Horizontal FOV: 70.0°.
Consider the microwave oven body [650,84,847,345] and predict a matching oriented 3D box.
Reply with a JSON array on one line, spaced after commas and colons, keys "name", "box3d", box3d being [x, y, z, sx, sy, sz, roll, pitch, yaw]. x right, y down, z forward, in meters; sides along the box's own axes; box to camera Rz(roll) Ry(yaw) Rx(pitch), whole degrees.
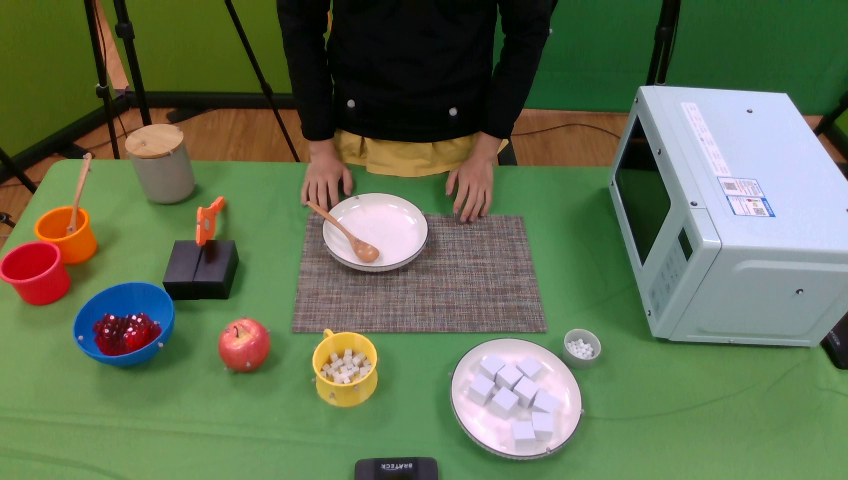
[{"name": "microwave oven body", "box3d": [0.569, -0.054, 1.116, 0.326, 0.261, 0.439, 2, 46, -1]}]

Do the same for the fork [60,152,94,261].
[{"name": "fork", "box3d": [-0.638, -0.063, 1.119, 0.028, 0.018, 0.207, 12, 90, 9]}]

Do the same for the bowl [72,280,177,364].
[{"name": "bowl", "box3d": [-0.473, 0.147, 0.982, 0.151, 0.077, 0.150, 2, 46, -2]}]

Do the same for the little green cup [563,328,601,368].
[{"name": "little green cup", "box3d": [0.265, 0.184, 1.025, 0.061, 0.039, 0.061, 1, 46, -1]}]

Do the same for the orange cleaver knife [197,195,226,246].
[{"name": "orange cleaver knife", "box3d": [-0.405, -0.041, 1.157, 0.012, 0.077, 0.210, 2, 14, -7]}]

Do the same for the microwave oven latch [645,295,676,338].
[{"name": "microwave oven latch", "box3d": [0.412, 0.133, 1.061, 0.030, 0.029, 0.078, 3, 46, 0]}]

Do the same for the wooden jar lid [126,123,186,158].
[{"name": "wooden jar lid", "box3d": [-0.519, -0.190, 1.179, 0.108, 0.021, 0.107, 2, 44, -2]}]

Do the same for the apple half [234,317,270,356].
[{"name": "apple half", "box3d": [-0.273, 0.154, 0.992, 0.081, 0.082, 0.033, 33, 56, 25]}]

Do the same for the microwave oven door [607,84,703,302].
[{"name": "microwave oven door", "box3d": [0.424, -0.096, 1.138, 0.039, 0.245, 0.353, 3, 46, -1]}]

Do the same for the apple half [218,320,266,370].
[{"name": "apple half", "box3d": [-0.298, 0.176, 0.971, 0.080, 0.075, 0.053, 35, 57, 22]}]

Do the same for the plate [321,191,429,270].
[{"name": "plate", "box3d": [-0.094, -0.015, 1.185, 0.209, 0.038, 0.208, 2, 46, -2]}]

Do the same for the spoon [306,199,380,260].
[{"name": "spoon", "box3d": [-0.160, -0.023, 1.170, 0.193, 0.022, 0.041, 41, 61, 16]}]

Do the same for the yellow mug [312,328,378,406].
[{"name": "yellow mug", "box3d": [-0.132, 0.193, 0.971, 0.100, 0.064, 0.130, -22, 51, -22]}]

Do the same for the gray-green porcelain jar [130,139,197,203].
[{"name": "gray-green porcelain jar", "box3d": [-0.522, -0.148, 1.225, 0.106, 0.127, 0.105, 2, 47, -2]}]

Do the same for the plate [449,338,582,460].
[{"name": "plate", "box3d": [0.141, 0.251, 0.956, 0.208, 0.039, 0.206, 2, 46, -2]}]
